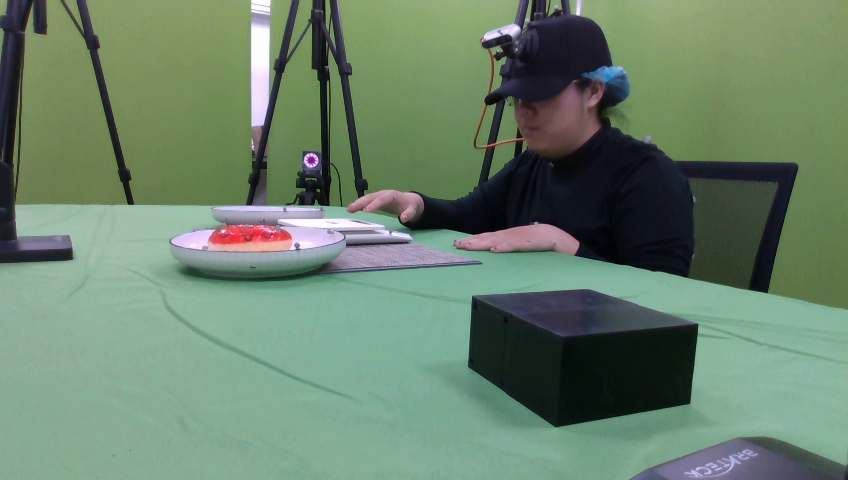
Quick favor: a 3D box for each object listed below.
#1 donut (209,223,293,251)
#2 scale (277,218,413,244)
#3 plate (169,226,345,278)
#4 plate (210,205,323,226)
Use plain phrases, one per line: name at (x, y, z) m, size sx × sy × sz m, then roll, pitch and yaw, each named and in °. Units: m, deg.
donut at (-0.210, 0.004, 0.738) m, size 0.099 × 0.048 × 0.099 m, roll 0°, pitch 7°, yaw 0°
scale at (-0.134, -0.015, 1.015) m, size 0.202 × 0.031 × 0.148 m, roll -1°, pitch 9°, yaw -33°
plate at (-0.202, 0.014, 0.748) m, size 0.209 × 0.038 × 0.209 m, roll 1°, pitch 9°, yaw 0°
plate at (-0.298, -0.043, 1.153) m, size 0.208 × 0.039 × 0.207 m, roll 2°, pitch 5°, yaw 0°
